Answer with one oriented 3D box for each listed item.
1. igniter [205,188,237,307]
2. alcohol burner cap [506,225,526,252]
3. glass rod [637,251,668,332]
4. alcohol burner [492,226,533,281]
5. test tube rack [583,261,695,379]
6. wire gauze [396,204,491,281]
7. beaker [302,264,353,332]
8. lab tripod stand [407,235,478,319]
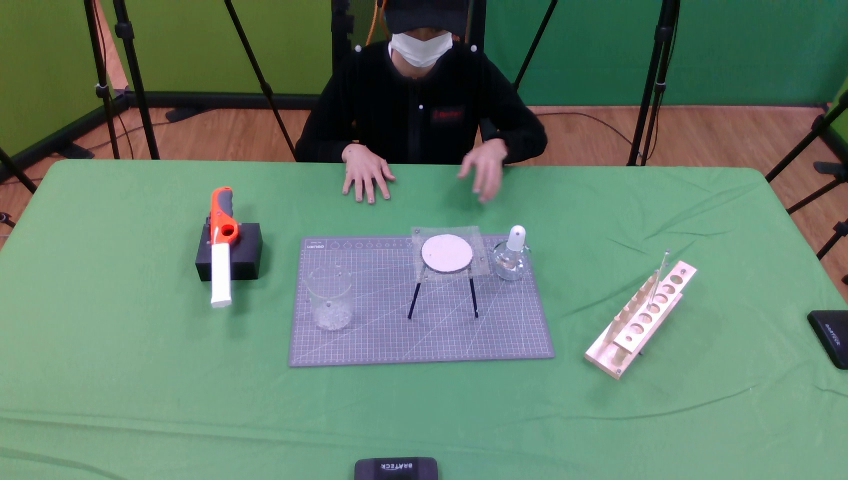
[{"bbox_3d":[-0.367,0.004,1.097,0.057,0.025,0.274,-7,50,-11],"label":"igniter"},{"bbox_3d":[0.169,-0.005,1.100,0.034,0.048,0.033,3,42,-3],"label":"alcohol burner cap"},{"bbox_3d":[0.378,0.090,1.005,0.008,0.201,0.008,-1,44,1],"label":"glass rod"},{"bbox_3d":[0.166,0.020,1.125,0.078,0.120,0.077,1,46,-1],"label":"alcohol burner"},{"bbox_3d":[0.380,0.127,1.062,0.066,0.085,0.242,34,53,26],"label":"test tube rack"},{"bbox_3d":[0.032,0.004,0.999,0.125,0.011,0.120,-22,54,-14],"label":"wire gauze"},{"bbox_3d":[-0.162,0.101,1.030,0.084,0.101,0.073,4,46,0],"label":"beaker"},{"bbox_3d":[0.032,0.065,1.057,0.148,0.132,0.147,1,45,-1],"label":"lab tripod stand"}]
